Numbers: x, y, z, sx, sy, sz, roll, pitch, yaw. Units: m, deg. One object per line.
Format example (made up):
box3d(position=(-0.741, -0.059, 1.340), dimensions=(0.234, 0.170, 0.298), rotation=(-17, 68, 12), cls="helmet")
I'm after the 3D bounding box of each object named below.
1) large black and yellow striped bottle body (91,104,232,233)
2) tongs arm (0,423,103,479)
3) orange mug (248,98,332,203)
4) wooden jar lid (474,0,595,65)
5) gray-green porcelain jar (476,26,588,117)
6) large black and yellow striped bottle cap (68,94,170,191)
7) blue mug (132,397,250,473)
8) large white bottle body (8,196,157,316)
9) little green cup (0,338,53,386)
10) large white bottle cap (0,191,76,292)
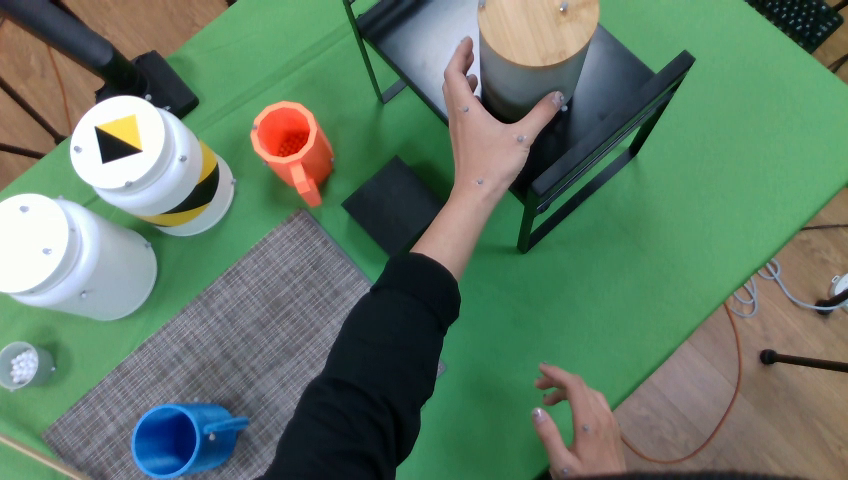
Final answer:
box3d(position=(-0.343, -0.093, 0.780), dimensions=(0.130, 0.185, 0.130), rotation=(-1, 76, 5), cls="large black and yellow striped bottle body")
box3d(position=(-0.584, 0.238, 0.782), dimensions=(0.387, 0.028, 0.028), rotation=(23, 71, 3), cls="tongs arm")
box3d(position=(-0.172, -0.115, 0.815), dimensions=(0.083, 0.101, 0.125), rotation=(-20, 71, 1), cls="orange mug")
box3d(position=(0.099, -0.207, 0.550), dimensions=(0.108, 0.021, 0.108), rotation=(-1, 79, 5), cls="wooden jar lid")
box3d(position=(0.105, -0.191, 0.610), dimensions=(0.106, 0.127, 0.105), rotation=(-1, 77, 5), cls="gray-green porcelain jar")
box3d(position=(-0.352, -0.114, 0.699), dimensions=(0.115, 0.019, 0.114), rotation=(-1, 76, 4), cls="large black and yellow striped bottle cap")
box3d(position=(-0.270, 0.229, 0.735), dimensions=(0.116, 0.106, 0.082), rotation=(-17, 75, 1), cls="blue mug")
box3d(position=(-0.441, 0.021, 0.761), dimensions=(0.130, 0.185, 0.130), rotation=(-1, 76, 5), cls="large white bottle body")
box3d(position=(-0.533, 0.163, 0.811), dimensions=(0.061, 0.039, 0.061), rotation=(-1, 77, 4), cls="little green cup")
box3d(position=(-0.449, 0.001, 0.679), dimensions=(0.115, 0.018, 0.114), rotation=(-1, 77, 5), cls="large white bottle cap")
